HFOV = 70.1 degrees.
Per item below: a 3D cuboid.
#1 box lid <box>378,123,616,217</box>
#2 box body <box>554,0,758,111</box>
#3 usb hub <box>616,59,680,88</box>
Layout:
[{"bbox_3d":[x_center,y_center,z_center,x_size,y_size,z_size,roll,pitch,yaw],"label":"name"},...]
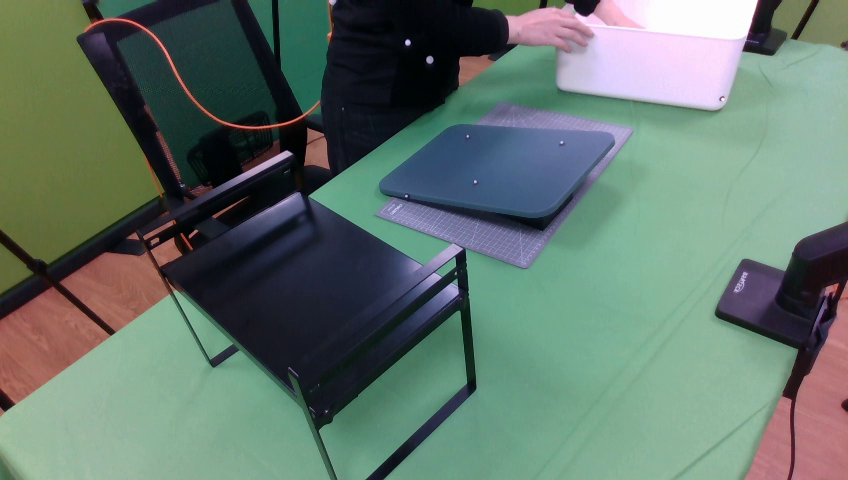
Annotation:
[{"bbox_3d":[0.119,-0.136,1.071,0.368,0.015,0.264,13,43,39],"label":"box lid"},{"bbox_3d":[0.481,-0.417,1.281,0.362,0.161,0.254,15,46,24],"label":"box body"},{"bbox_3d":[0.485,-0.362,1.311,0.124,0.025,0.049,21,48,27],"label":"usb hub"}]
